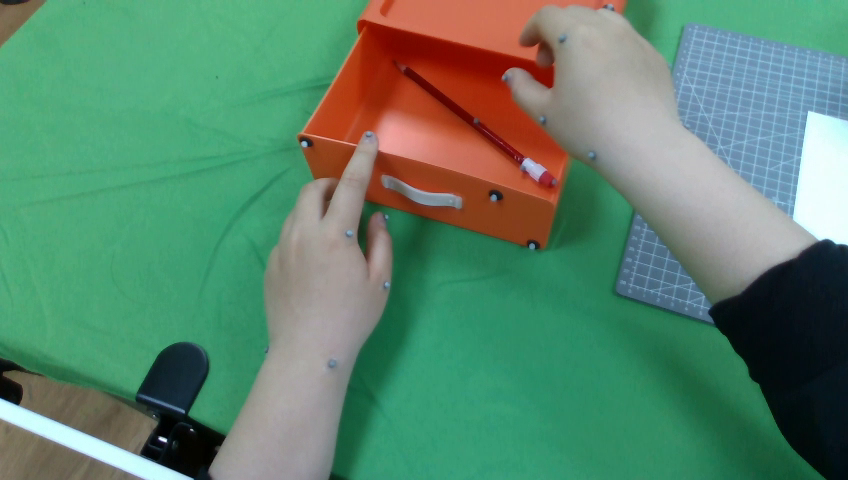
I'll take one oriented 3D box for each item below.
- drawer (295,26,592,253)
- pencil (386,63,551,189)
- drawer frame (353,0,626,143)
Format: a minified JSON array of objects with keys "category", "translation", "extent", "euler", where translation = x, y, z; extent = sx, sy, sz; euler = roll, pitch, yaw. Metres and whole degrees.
[{"category":"drawer","translation":[0.031,-0.112,0.498],"extent":[0.194,0.074,0.210],"euler":[16,61,12]},{"category":"pencil","translation":[0.032,-0.103,0.517],"extent":[0.012,0.012,0.192],"euler":[-41,67,-18]},{"category":"drawer frame","translation":[0.073,-0.211,0.547],"extent":[0.201,0.083,0.212],"euler":[17,62,12]}]
